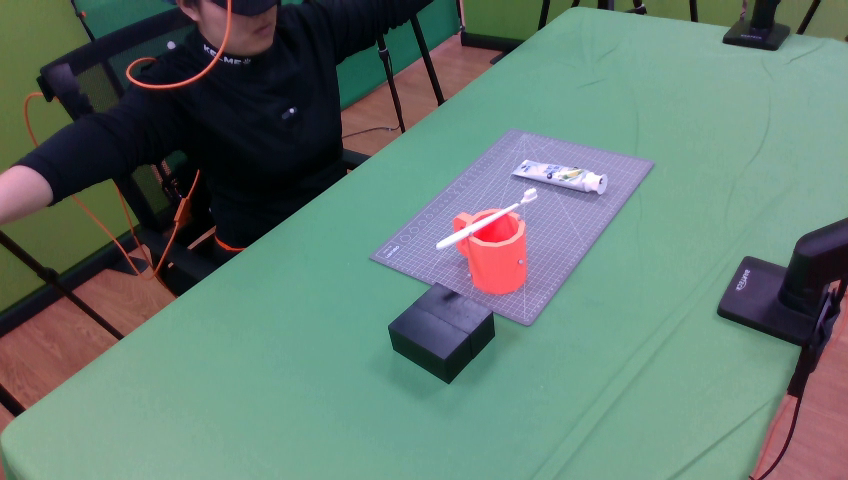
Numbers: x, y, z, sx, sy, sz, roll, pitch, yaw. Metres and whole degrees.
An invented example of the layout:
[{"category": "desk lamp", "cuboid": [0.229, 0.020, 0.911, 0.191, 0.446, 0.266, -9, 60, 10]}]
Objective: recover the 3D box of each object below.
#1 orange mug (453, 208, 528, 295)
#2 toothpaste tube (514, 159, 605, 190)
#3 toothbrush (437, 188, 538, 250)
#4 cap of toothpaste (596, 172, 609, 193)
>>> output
[{"category": "orange mug", "cuboid": [0.094, 0.009, 0.894, 0.125, 0.101, 0.084, 32, 55, 33]}, {"category": "toothpaste tube", "cuboid": [0.242, -0.117, 1.069, 0.164, 0.034, 0.055, 17, 43, 35]}, {"category": "toothbrush", "cuboid": [0.093, -0.031, 0.859, 0.182, 0.017, 0.014, -28, 52, -21]}, {"category": "cap of toothpaste", "cuboid": [0.301, -0.098, 1.022, 0.011, 0.037, 0.037, 19, 48, 39]}]
